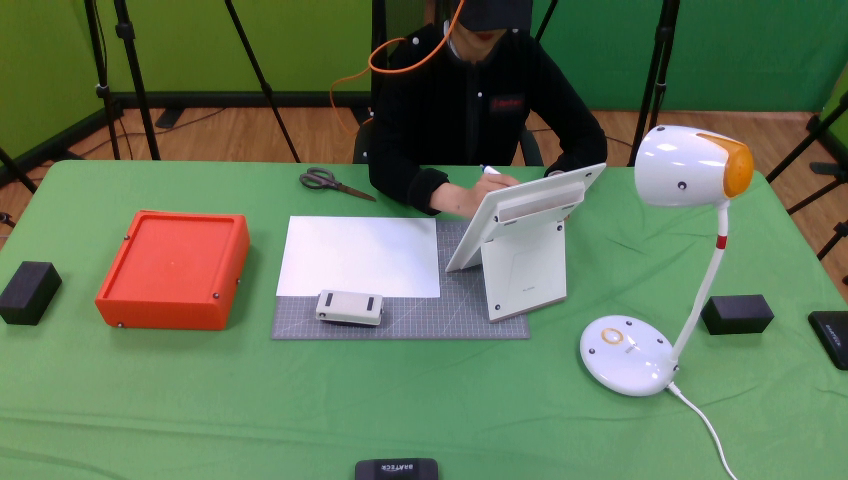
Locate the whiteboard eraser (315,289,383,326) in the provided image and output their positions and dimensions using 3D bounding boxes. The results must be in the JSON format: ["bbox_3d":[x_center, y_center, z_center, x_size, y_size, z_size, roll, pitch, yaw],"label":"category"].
[{"bbox_3d":[-0.130,0.119,1.054,0.113,0.042,0.055,6,47,1],"label":"whiteboard eraser"}]

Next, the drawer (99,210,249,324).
[{"bbox_3d":[-0.435,0.044,1.081,0.194,0.073,0.210,3,46,-2],"label":"drawer"}]

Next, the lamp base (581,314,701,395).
[{"bbox_3d":[0.361,0.145,0.972,0.178,0.181,0.160,34,53,23],"label":"lamp base"}]

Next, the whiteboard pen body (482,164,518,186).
[{"bbox_3d":[0.157,-0.097,1.069,0.017,0.017,0.140,-34,55,-31],"label":"whiteboard pen body"}]

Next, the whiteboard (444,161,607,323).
[{"bbox_3d":[0.186,0.025,1.029,0.217,0.306,0.143,-14,68,-18],"label":"whiteboard"}]

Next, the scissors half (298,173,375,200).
[{"bbox_3d":[-0.188,-0.110,1.296,0.175,0.013,0.040,15,42,5],"label":"scissors half"}]

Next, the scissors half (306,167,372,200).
[{"bbox_3d":[-0.179,-0.120,1.311,0.174,0.013,0.040,27,39,18],"label":"scissors half"}]

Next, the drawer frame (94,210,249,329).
[{"bbox_3d":[-0.435,0.048,1.076,0.202,0.083,0.212,2,47,-3],"label":"drawer frame"}]

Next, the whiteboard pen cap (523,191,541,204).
[{"bbox_3d":[0.206,-0.081,1.156,0.033,0.018,0.018,19,44,-15],"label":"whiteboard pen cap"}]

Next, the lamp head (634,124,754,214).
[{"bbox_3d":[0.351,-0.089,0.776,0.112,0.113,0.122,-30,30,-28],"label":"lamp head"}]
